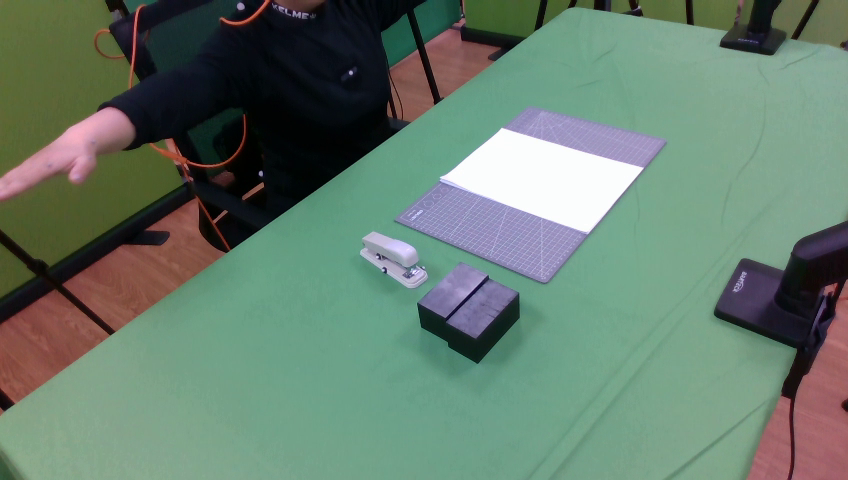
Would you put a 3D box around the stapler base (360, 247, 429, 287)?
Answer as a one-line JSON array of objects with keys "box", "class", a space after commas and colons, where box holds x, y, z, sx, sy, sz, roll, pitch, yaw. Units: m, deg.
[{"box": [-0.048, 0.031, 0.948, 0.041, 0.024, 0.129, -34, 45, -31], "class": "stapler base"}]

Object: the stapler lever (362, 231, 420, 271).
[{"box": [-0.052, 0.011, 0.933, 0.027, 0.040, 0.117, -34, 45, -31], "class": "stapler lever"}]
